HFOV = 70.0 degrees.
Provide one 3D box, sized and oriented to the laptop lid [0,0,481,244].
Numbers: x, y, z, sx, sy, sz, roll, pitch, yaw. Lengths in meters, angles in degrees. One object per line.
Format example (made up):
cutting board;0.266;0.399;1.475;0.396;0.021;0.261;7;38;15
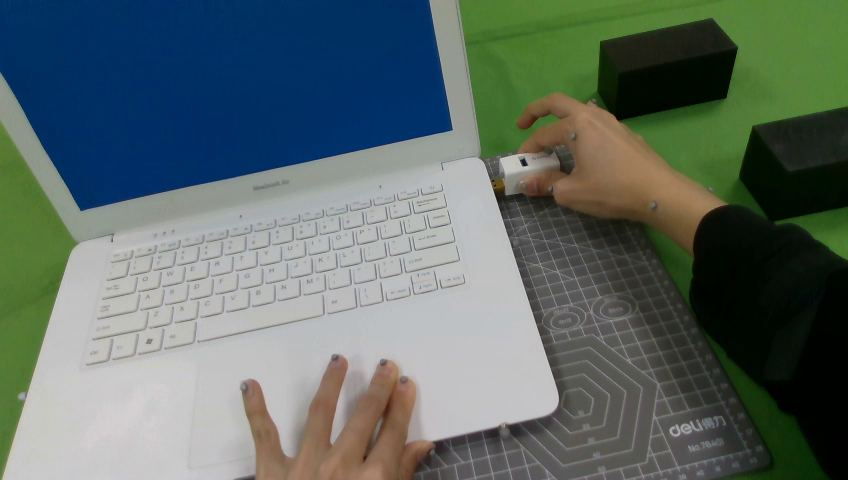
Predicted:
laptop lid;-0.145;-0.124;0.452;0.357;0.244;0.013;-14;33;1

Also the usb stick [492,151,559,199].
usb stick;0.076;-0.050;0.483;0.059;0.027;0.021;-14;45;-5

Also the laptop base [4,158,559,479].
laptop base;-0.105;0.058;0.438;0.354;0.023;0.233;-12;52;1
